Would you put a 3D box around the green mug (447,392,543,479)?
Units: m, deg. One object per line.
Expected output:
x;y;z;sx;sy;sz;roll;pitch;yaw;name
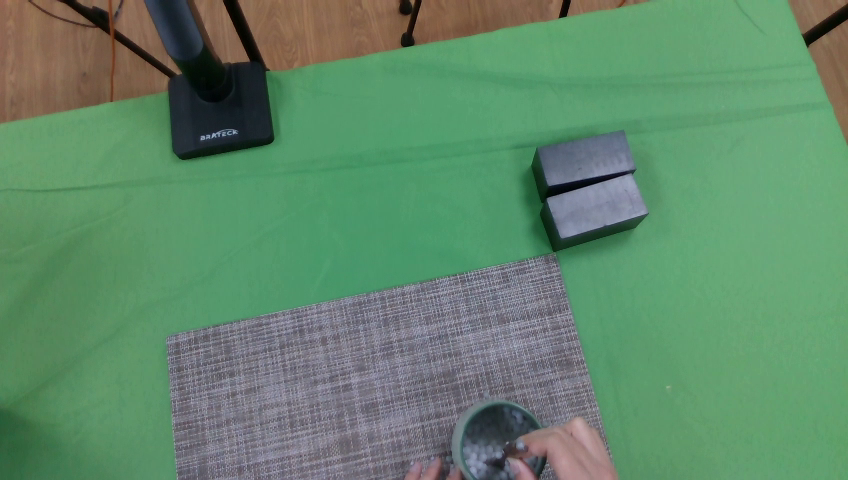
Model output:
0.077;0.207;0.585;0.092;0.105;0.124;-28;75;-7;green mug

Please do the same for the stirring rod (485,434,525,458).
0.068;0.182;0.529;0.014;0.177;0.006;14;68;6;stirring rod
